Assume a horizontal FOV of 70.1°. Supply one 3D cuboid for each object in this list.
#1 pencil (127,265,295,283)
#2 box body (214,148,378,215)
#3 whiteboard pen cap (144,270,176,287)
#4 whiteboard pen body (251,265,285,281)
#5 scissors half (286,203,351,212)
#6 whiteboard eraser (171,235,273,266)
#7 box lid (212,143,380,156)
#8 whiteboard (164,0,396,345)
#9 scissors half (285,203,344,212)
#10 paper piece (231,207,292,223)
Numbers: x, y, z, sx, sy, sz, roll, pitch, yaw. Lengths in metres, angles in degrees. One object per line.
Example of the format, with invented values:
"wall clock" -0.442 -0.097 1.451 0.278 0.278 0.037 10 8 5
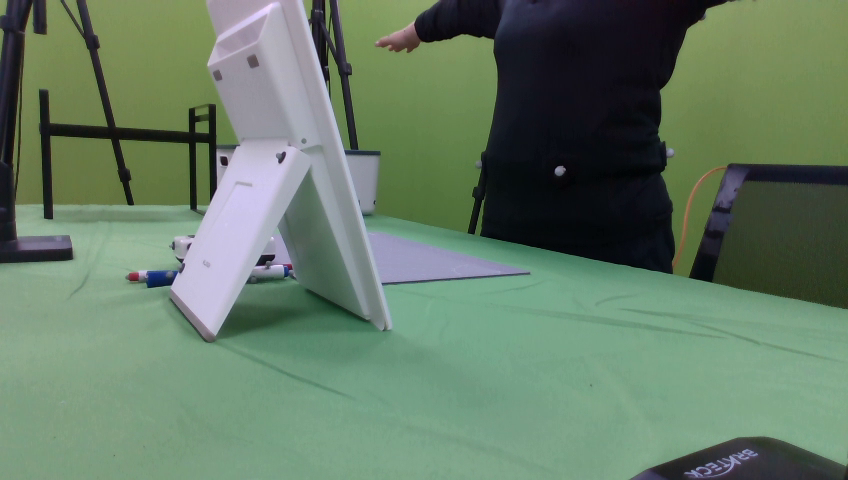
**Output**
"pencil" -0.231 0.037 0.690 0.195 0.012 0.012 -2 9 -34
"box body" -0.328 -0.154 1.543 0.366 0.160 0.253 -2 9 -32
"whiteboard pen cap" -0.271 0.039 0.627 0.033 0.018 0.018 -3 10 -32
"whiteboard pen body" -0.220 0.039 0.656 0.141 0.017 0.017 -2 9 -31
"scissors half" -0.268 -0.079 1.535 0.176 0.013 0.040 -7 12 -23
"whiteboard eraser" -0.248 0.014 0.747 0.113 0.042 0.055 -1 10 -32
"box lid" -0.326 -0.227 1.533 0.373 0.015 0.262 -2 8 -32
"whiteboard" -0.172 -0.053 0.511 0.144 0.305 0.216 -23 20 -26
"scissors half" -0.280 -0.082 1.552 0.040 0.013 0.176 1 9 45
"paper piece" -0.395 -0.062 1.461 0.139 0.008 0.135 14 -4 -21
